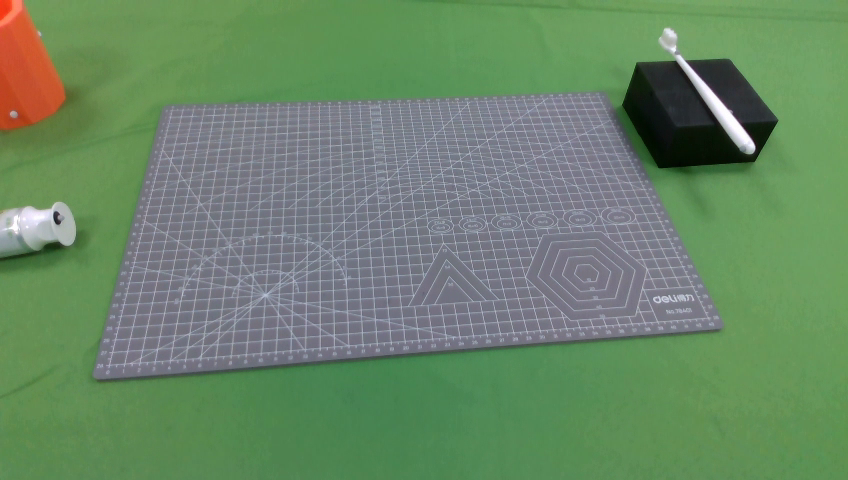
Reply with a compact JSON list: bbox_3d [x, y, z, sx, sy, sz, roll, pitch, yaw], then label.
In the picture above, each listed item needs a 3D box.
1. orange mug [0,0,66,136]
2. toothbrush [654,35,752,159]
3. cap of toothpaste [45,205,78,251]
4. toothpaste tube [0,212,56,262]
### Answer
[{"bbox_3d":[-0.405,-0.151,0.546,0.083,0.101,0.126,29,49,20],"label":"orange mug"},{"bbox_3d":[0.259,-0.139,0.567,0.014,0.017,0.180,-3,49,-12],"label":"toothbrush"},{"bbox_3d":[-0.282,-0.009,0.469,0.011,0.038,0.037,-10,50,-8],"label":"cap of toothpaste"},{"bbox_3d":[-0.360,0.003,0.462,0.165,0.035,0.054,-10,46,-7],"label":"toothpaste tube"}]
